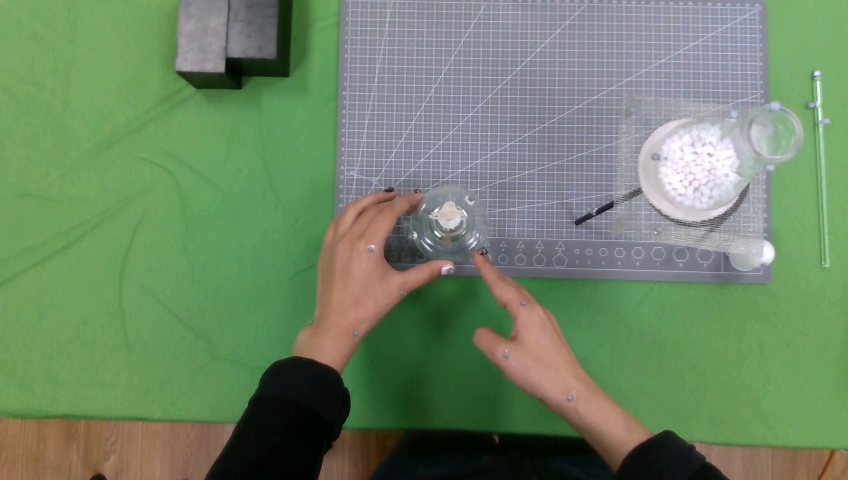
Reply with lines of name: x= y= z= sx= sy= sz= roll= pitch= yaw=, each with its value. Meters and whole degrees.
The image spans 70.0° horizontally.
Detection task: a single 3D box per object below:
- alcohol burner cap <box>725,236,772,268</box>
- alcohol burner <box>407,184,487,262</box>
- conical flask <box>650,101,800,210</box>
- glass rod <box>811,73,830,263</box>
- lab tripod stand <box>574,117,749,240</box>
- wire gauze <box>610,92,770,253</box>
alcohol burner cap: x=0.325 y=0.010 z=0.601 sx=0.034 sy=0.048 sz=0.034 roll=0 pitch=85 yaw=2
alcohol burner: x=0.022 y=-0.018 z=0.575 sx=0.078 sy=0.119 sz=0.078 roll=0 pitch=86 yaw=3
conical flask: x=0.219 y=-0.065 z=0.439 sx=0.075 sy=0.122 sz=0.075 roll=0 pitch=87 yaw=2
glass rod: x=0.409 y=-0.075 z=0.625 sx=0.008 sy=0.008 sz=0.199 roll=-1 pitch=85 yaw=1
lab tripod stand: x=0.222 y=-0.050 z=0.562 sx=0.148 sy=0.131 sz=0.148 roll=0 pitch=87 yaw=2
wire gauze: x=0.218 y=-0.057 z=0.497 sx=0.125 sy=0.011 sz=0.121 roll=7 pitch=89 yaw=0
